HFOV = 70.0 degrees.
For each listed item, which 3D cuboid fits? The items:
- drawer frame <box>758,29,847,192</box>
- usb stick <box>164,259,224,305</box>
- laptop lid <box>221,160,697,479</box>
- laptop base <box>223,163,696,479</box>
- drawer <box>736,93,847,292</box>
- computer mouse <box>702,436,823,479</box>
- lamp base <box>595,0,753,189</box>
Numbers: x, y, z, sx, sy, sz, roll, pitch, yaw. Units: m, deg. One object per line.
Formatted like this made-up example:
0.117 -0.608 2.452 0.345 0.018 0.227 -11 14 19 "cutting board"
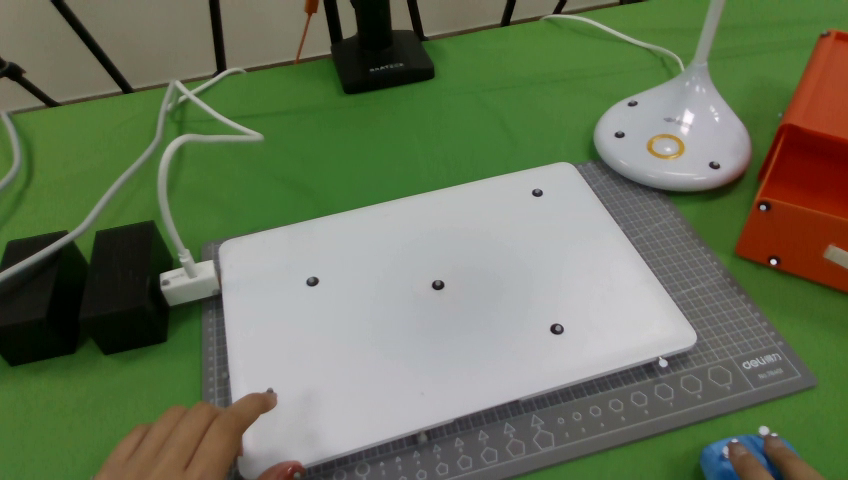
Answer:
0.469 -0.111 0.600 0.200 0.083 0.213 22 51 24 "drawer frame"
-0.192 0.034 0.526 0.059 0.027 0.021 -13 46 -15 "usb stick"
0.014 0.040 0.510 0.357 0.013 0.239 -13 49 -9 "laptop lid"
0.014 0.047 0.520 0.355 0.023 0.233 -14 50 -10 "laptop base"
0.410 -0.041 0.539 0.193 0.074 0.211 22 51 24 "drawer"
0.221 0.172 0.372 0.063 0.041 0.116 -7 41 2 "computer mouse"
0.265 -0.171 0.601 0.160 0.182 0.178 15 45 18 "lamp base"
